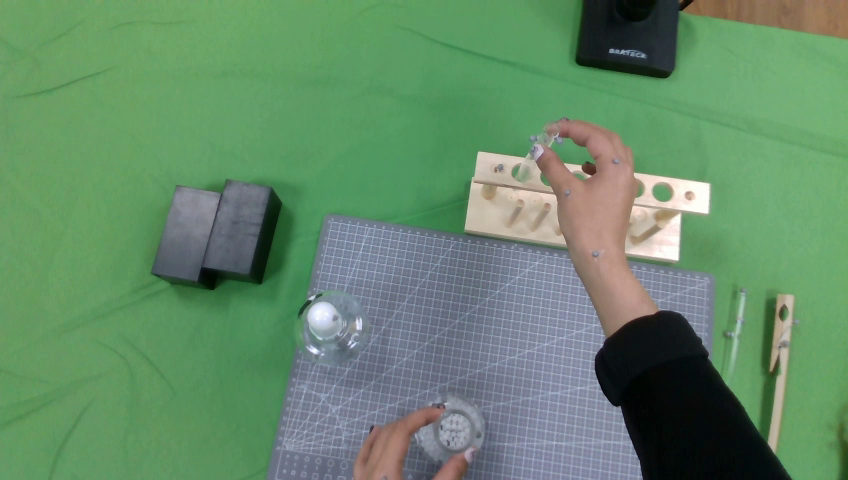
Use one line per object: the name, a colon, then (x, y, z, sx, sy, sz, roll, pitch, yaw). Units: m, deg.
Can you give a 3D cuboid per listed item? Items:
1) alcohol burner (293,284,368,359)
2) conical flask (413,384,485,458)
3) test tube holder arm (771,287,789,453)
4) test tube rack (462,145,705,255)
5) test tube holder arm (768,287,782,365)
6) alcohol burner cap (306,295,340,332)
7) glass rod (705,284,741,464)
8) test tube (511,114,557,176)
alcohol burner: (-0.098, 0.079, 0.613, 0.078, 0.120, 0.077, 0, 74, 2)
conical flask: (0.026, 0.176, 0.586, 0.075, 0.122, 0.075, 0, 75, 0)
test tube holder arm: (0.385, 0.138, 0.655, 0.013, 0.015, 0.177, -1, 71, 38)
test tube rack: (0.168, -0.041, 0.666, 0.242, 0.085, 0.066, 8, 75, 1)
test tube holder arm: (0.389, 0.095, 0.669, 0.010, 0.015, 0.087, 0, 72, 38)
alcohol burner cap: (-0.097, 0.068, 0.578, 0.034, 0.048, 0.033, 2, 72, -5)
glass rod: (0.326, 0.143, 0.659, 0.008, 0.008, 0.199, 16, 78, 3)
test tube: (0.103, -0.085, 0.587, 0.017, 0.151, 0.017, 1, 77, -3)
